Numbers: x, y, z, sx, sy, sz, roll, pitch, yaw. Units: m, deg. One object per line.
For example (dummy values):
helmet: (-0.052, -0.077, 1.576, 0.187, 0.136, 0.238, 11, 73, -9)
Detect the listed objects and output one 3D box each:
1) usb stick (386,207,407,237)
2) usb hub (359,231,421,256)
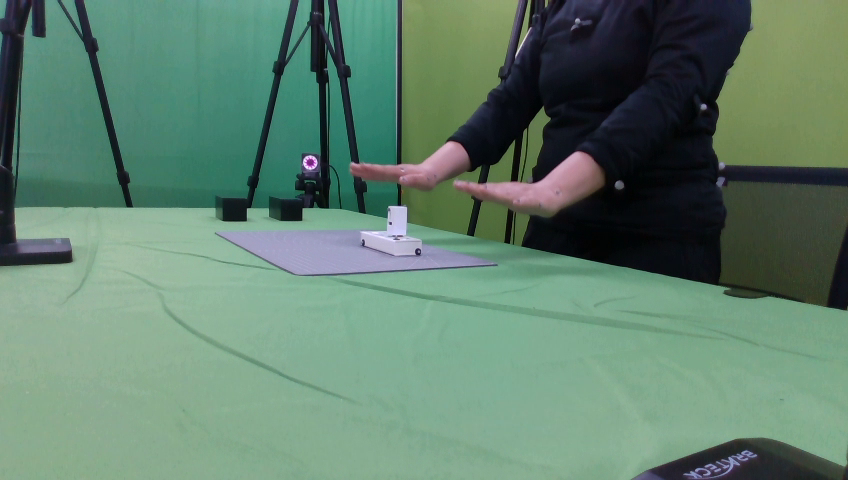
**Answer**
usb stick: (-0.043, -0.022, 0.937, 0.027, 0.059, 0.021, -5, 10, -34)
usb hub: (-0.056, 0.004, 0.954, 0.050, 0.025, 0.124, -2, 8, -31)
